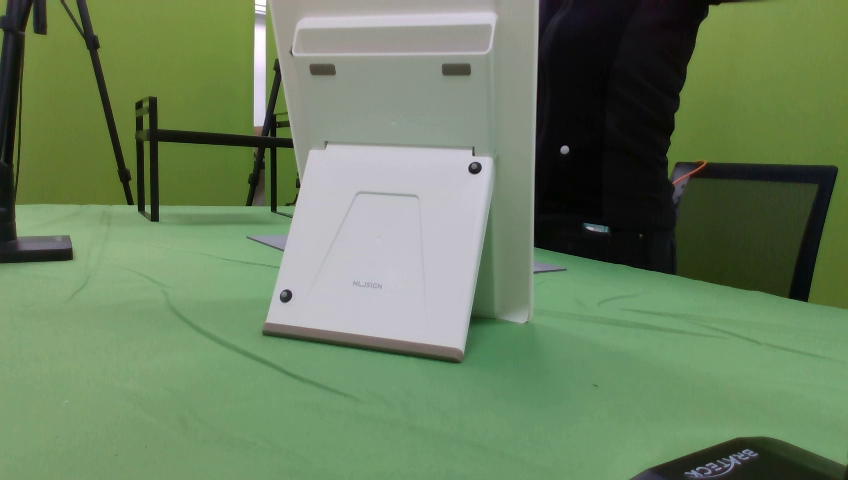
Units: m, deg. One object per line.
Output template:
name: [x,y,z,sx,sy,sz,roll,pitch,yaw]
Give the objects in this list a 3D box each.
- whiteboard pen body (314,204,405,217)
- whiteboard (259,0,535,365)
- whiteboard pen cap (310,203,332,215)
whiteboard pen body: [-0.098,-0.046,0.931,0.141,0.017,0.017,2,8,-14]
whiteboard: [-0.037,-0.041,0.457,0.216,0.305,0.144,5,28,19]
whiteboard pen cap: [-0.156,-0.047,0.916,0.033,0.018,0.018,3,7,-15]
